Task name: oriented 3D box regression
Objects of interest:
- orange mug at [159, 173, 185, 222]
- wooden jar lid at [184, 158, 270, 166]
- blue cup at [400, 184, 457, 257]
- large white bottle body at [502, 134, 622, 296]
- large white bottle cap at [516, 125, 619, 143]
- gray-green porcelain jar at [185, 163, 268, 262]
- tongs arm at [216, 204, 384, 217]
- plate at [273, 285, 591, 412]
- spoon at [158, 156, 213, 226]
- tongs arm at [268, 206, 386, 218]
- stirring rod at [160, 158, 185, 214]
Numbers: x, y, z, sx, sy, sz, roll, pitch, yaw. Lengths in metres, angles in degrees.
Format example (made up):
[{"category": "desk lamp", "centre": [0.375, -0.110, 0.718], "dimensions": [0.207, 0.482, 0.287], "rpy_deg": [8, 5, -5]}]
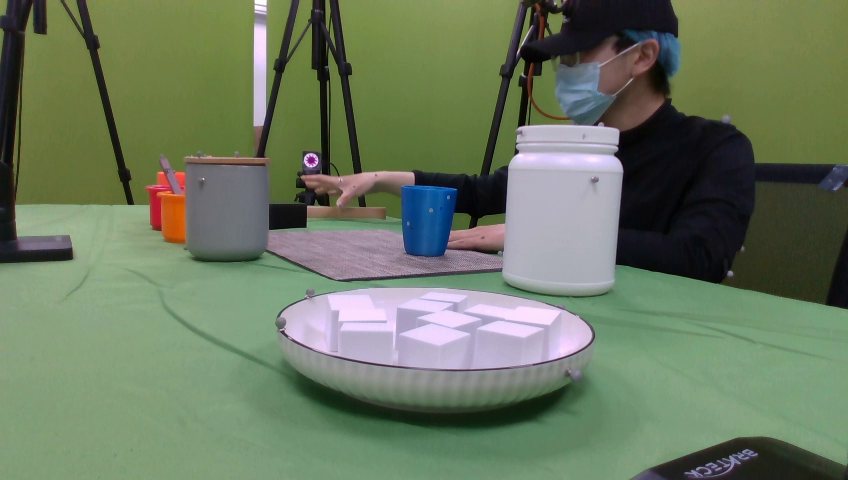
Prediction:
[{"category": "orange mug", "centre": [-0.477, -0.089, 1.241], "dimensions": [0.127, 0.101, 0.083], "rpy_deg": [-7, 12, -33]}, {"category": "wooden jar lid", "centre": [-0.260, -0.099, 0.801], "dimensions": [0.108, 0.020, 0.108], "rpy_deg": [0, 9, 0]}, {"category": "blue cup", "centre": [0.003, -0.029, 0.901], "dimensions": [0.093, 0.100, 0.092], "rpy_deg": [4, 8, 0]}, {"category": "large white bottle body", "centre": [0.161, -0.037, 0.706], "dimensions": [0.131, 0.184, 0.130], "rpy_deg": [2, 7, 0]}, {"category": "large white bottle cap", "centre": [0.164, -0.120, 0.695], "dimensions": [0.115, 0.018, 0.115], "rpy_deg": [2, 7, 0]}, {"category": "gray-green porcelain jar", "centre": [-0.263, -0.038, 0.809], "dimensions": [0.106, 0.126, 0.106], "rpy_deg": [3, 8, 0]}, {"category": "tongs arm", "centre": [-0.288, -0.069, 1.435], "dimensions": [0.389, 0.027, 0.028], "rpy_deg": [0, -1, -17]}, {"category": "plate", "centre": [0.005, 0.069, 0.408], "dimensions": [0.208, 0.039, 0.207], "rpy_deg": [2, 7, 0]}, {"category": "spoon", "centre": [-0.434, -0.094, 1.121], "dimensions": [0.041, 0.022, 0.193], "rpy_deg": [5, 51, 13]}, {"category": "tongs arm", "centre": [-0.251, -0.063, 1.360], "dimensions": [0.387, 0.026, 0.050], "rpy_deg": [-1, 3, -31]}, {"category": "stirring rod", "centre": [-0.390, -0.070, 0.972], "dimensions": [0.014, 0.006, 0.175], "rpy_deg": [-2, 50, -48]}]
